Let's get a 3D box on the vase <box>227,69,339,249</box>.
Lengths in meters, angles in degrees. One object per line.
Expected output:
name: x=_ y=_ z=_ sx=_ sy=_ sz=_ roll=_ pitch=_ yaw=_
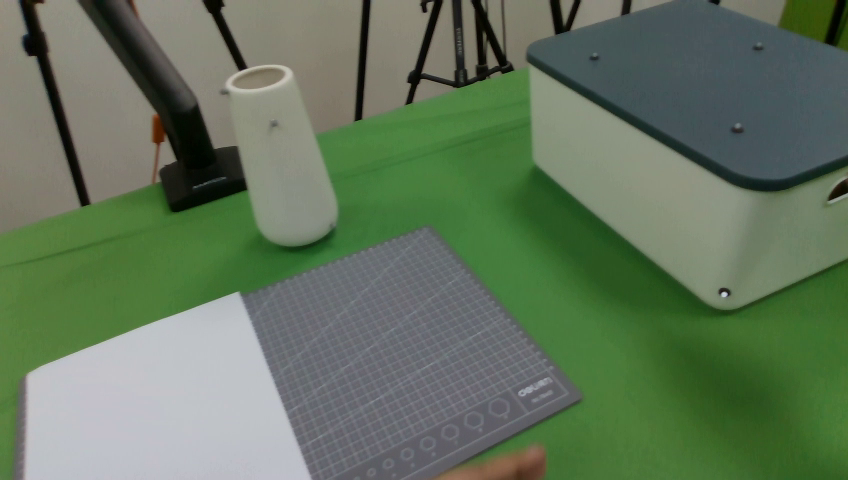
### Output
vase: x=-0.161 y=-0.088 z=0.691 sx=0.098 sy=0.202 sz=0.097 roll=-6 pitch=37 yaw=5

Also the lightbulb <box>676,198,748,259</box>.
lightbulb: x=0.296 y=-0.019 z=0.637 sx=0.059 sy=0.060 sz=0.107 roll=-7 pitch=21 yaw=1

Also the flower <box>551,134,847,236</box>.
flower: x=0.320 y=-0.063 z=0.722 sx=0.359 sy=0.038 sz=0.044 roll=23 pitch=43 yaw=27

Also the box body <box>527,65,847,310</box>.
box body: x=0.308 y=-0.111 z=0.673 sx=0.254 sy=0.162 sz=0.360 roll=-20 pitch=39 yaw=-15

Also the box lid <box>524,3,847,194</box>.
box lid: x=0.300 y=-0.168 z=0.624 sx=0.264 sy=0.015 sz=0.367 roll=-20 pitch=40 yaw=-15
